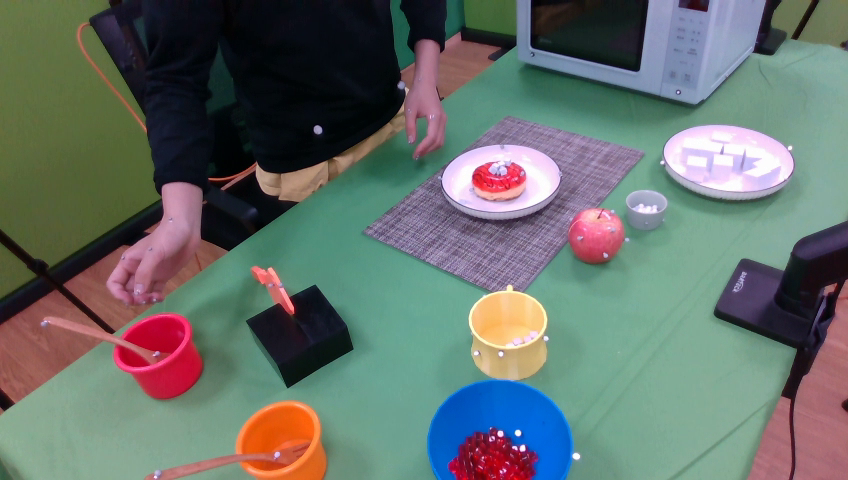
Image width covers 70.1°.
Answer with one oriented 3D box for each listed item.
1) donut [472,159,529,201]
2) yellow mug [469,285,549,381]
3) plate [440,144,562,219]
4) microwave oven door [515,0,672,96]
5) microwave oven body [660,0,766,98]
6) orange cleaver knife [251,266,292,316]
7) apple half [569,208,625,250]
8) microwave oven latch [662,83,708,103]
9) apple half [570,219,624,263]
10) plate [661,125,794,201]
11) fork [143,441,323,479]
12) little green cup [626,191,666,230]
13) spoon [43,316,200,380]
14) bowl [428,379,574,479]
[{"bbox_3d":[0.132,-0.105,1.043,0.099,0.048,0.098,-5,38,4],"label":"donut"},{"bbox_3d":[0.112,0.112,0.792,0.100,0.064,0.130,0,40,9],"label":"yellow mug"},{"bbox_3d":[0.134,-0.098,1.051,0.209,0.038,0.208,-4,40,4],"label":"plate"},{"bbox_3d":[0.344,-0.455,1.259,0.353,0.245,0.039,26,51,33],"label":"microwave oven door"},{"bbox_3d":[0.472,-0.513,1.317,0.438,0.261,0.327,26,51,34],"label":"microwave oven body"},{"bbox_3d":[-0.221,0.071,0.873,0.012,0.077,0.210,-25,11,-21],"label":"orange cleaver knife"},{"bbox_3d":[0.262,-0.014,0.913,0.080,0.075,0.053,4,37,20],"label":"apple half"},{"bbox_3d":[0.518,-0.296,1.204,0.078,0.029,0.030,28,52,35],"label":"microwave oven latch"},{"bbox_3d":[0.250,0.010,0.885,0.081,0.081,0.033,7,39,17],"label":"apple half"},{"bbox_3d":[0.514,-0.128,1.035,0.207,0.039,0.206,-4,41,4],"label":"plate"},{"bbox_3d":[-0.189,0.231,0.631,0.028,0.018,0.209,35,13,37],"label":"fork"},{"bbox_3d":[0.352,-0.046,0.963,0.061,0.039,0.061,-4,40,4],"label":"little green cup"},{"bbox_3d":[-0.385,0.136,0.778,0.195,0.021,0.041,31,35,-24],"label":"spoon"},{"bbox_3d":[0.082,0.233,0.644,0.151,0.077,0.150,-4,39,4],"label":"bowl"}]
